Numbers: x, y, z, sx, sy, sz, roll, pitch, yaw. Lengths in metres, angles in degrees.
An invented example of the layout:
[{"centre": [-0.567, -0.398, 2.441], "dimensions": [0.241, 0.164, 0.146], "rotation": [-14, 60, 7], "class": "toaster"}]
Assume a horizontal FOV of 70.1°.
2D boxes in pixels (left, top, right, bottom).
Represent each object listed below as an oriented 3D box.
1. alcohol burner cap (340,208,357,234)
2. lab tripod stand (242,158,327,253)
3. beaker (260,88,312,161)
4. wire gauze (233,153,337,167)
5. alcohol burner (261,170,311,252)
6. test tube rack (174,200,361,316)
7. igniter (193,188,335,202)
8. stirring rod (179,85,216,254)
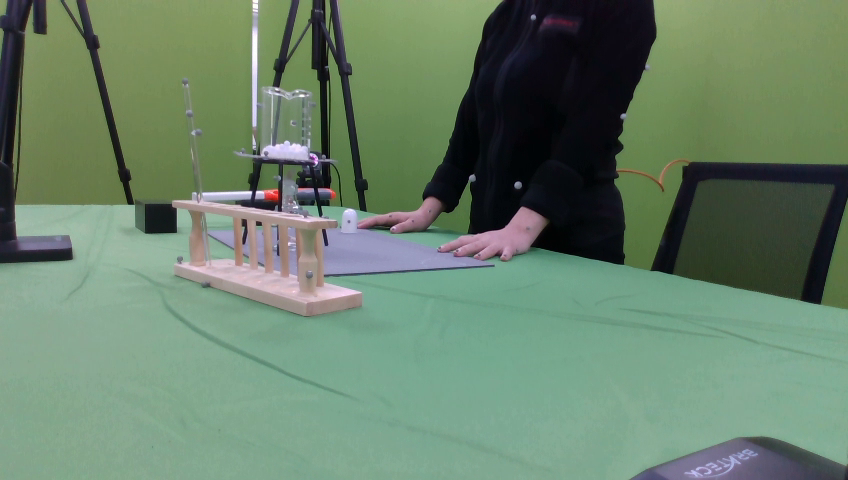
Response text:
[{"centre": [-0.142, -0.035, 1.136], "dimensions": [0.034, 0.048, 0.034], "rotation": [2, 7, 0], "class": "alcohol burner cap"}, {"centre": [-0.207, -0.054, 0.895], "dimensions": [0.148, 0.131, 0.148], "rotation": [2, 5, 0], "class": "lab tripod stand"}, {"centre": [-0.200, -0.166, 0.876], "dimensions": [0.074, 0.100, 0.083], "rotation": [1, 7, -18], "class": "beaker"}, {"centre": [-0.205, -0.119, 0.887], "dimensions": [0.122, 0.011, 0.124], "rotation": [2, 4, -32], "class": "wire gauze"}, {"centre": [-0.201, -0.043, 0.891], "dimensions": [0.078, 0.119, 0.078], "rotation": [1, 6, 0], "class": "alcohol burner"}, {"centre": [-0.169, 0.010, 0.622], "dimensions": [0.241, 0.085, 0.067], "rotation": [9, 9, 41], "class": "test tube rack"}, {"centre": [-0.312, -0.089, 1.209], "dimensions": [0.278, 0.025, 0.057], "rotation": [-5, 13, -31], "class": "igniter"}, {"centre": [-0.237, -0.073, 0.634], "dimensions": [0.006, 0.176, 0.014], "rotation": [0, 9, 42], "class": "stirring rod"}]
